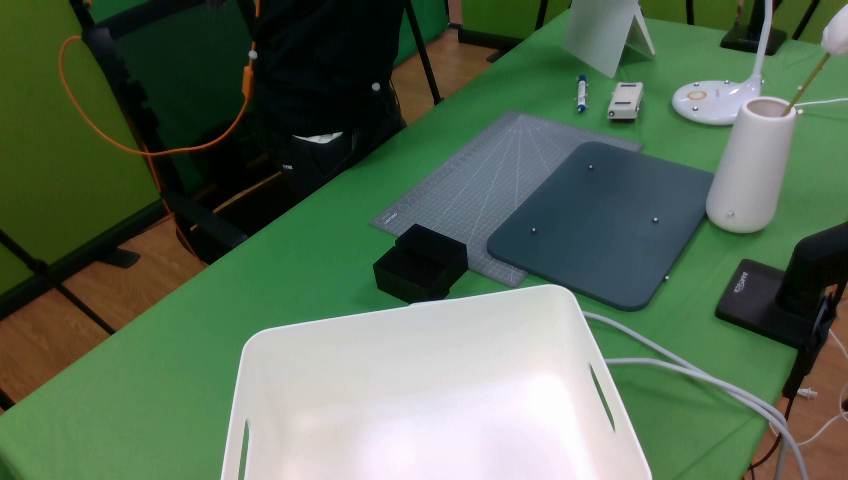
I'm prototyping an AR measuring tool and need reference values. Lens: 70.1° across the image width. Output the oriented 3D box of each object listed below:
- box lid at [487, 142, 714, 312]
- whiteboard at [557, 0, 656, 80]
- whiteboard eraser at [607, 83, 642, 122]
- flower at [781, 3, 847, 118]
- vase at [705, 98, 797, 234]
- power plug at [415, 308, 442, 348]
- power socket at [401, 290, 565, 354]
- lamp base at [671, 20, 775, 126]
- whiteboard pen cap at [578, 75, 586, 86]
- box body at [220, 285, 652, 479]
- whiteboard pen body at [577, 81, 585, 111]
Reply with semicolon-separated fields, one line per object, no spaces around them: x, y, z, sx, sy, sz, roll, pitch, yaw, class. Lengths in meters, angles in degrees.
0.298;-0.041;0.985;0.261;0.015;0.372;23;49;30;box lid
0.456;-0.544;1.361;0.145;0.306;0.215;-5;37;-23;whiteboard
0.406;-0.277;1.222;0.055;0.042;0.112;9;43;21;whiteboard eraser
0.480;-0.157;0.824;0.044;0.362;0.038;-8;56;-9;flower
0.480;-0.104;0.888;0.098;0.201;0.097;-4;42;4;vase
0.004;0.121;0.786;0.035;0.053;0.072;1;46;8;power plug
0.079;0.111;0.823;0.227;0.033;0.072;-6;41;1;power socket
0.581;-0.332;1.154;0.179;0.181;0.160;2;41;7;lamp base
0.349;-0.351;1.334;0.018;0.018;0.033;3;39;12;whiteboard pen cap
0.005;0.211;0.616;0.364;0.161;0.252;-9;40;-2;box body
0.335;-0.313;1.292;0.017;0.017;0.140;3;40;12;whiteboard pen body
